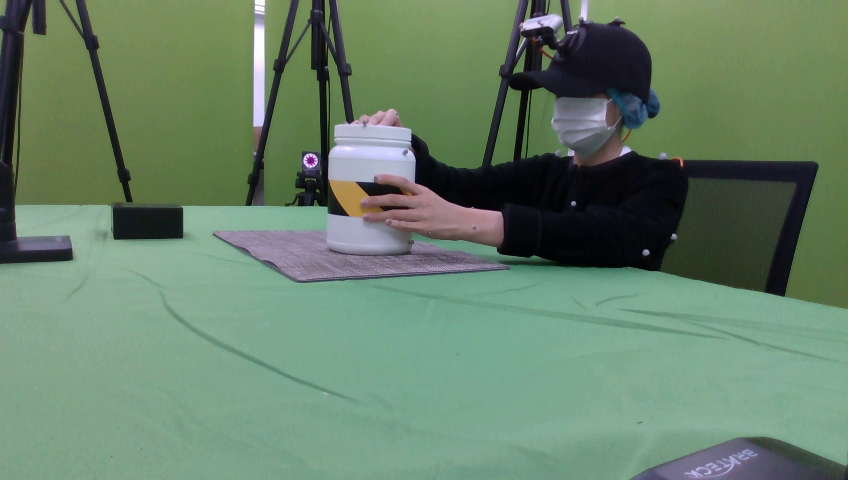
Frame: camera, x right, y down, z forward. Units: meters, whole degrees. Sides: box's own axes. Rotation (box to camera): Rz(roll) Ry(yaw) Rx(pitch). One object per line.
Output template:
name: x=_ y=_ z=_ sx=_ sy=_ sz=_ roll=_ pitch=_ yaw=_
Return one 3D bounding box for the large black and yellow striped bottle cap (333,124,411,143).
large black and yellow striped bottle cap: x=-0.076 y=-0.157 z=0.896 sx=0.115 sy=0.019 sz=0.115 roll=5 pitch=7 yaw=0

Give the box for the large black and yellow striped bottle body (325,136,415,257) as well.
large black and yellow striped bottle body: x=-0.080 y=-0.074 z=0.905 sx=0.131 sy=0.184 sz=0.130 roll=3 pitch=7 yaw=0
